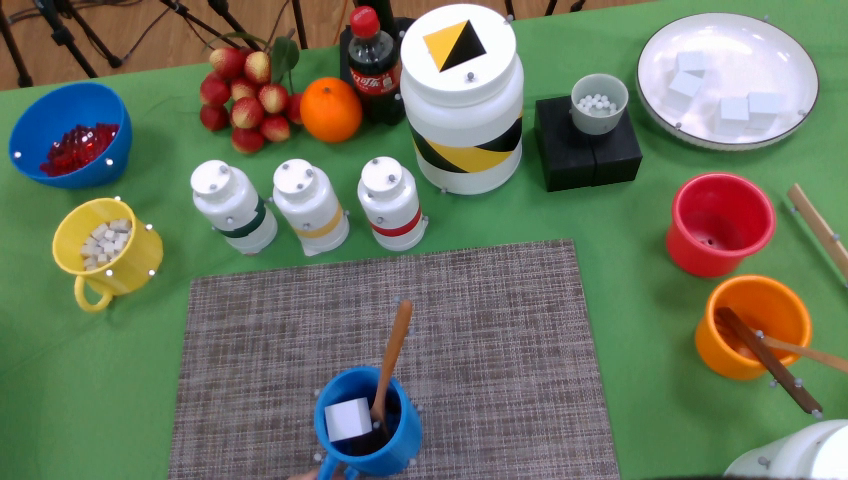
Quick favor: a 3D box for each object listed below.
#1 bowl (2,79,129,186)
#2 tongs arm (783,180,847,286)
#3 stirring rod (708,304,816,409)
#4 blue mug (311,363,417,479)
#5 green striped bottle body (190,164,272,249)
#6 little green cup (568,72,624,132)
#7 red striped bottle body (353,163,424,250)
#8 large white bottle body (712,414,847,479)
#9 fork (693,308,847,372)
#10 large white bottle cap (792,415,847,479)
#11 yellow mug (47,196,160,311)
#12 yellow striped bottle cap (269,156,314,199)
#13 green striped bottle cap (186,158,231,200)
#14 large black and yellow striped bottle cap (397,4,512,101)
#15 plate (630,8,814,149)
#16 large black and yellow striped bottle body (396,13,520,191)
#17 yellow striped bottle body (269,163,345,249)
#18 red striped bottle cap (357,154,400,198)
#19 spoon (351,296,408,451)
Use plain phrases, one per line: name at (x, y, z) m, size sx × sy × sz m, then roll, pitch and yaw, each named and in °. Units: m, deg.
bowl at (-0.443, -0.124, 0.782) m, size 0.151 × 0.077 × 0.150 m, roll -2°, pitch 64°, yaw 5°
tongs arm at (0.477, 0.094, 0.587) m, size 0.051 × 0.027 × 0.381 m, roll -17°, pitch 65°, yaw -3°
stirring rod at (0.300, 0.099, 0.549) m, size 0.014 × 0.006 × 0.175 m, roll -3°, pitch 21°, yaw 2°
blue mug at (-0.062, 0.182, 0.565) m, size 0.082 × 0.107 × 0.116 m, roll 30°, pitch 71°, yaw 20°
green striped bottle body at (-0.221, -0.041, 0.691) m, size 0.063 × 0.120 × 0.062 m, roll -2°, pitch 63°, yaw 5°
little green cup at (0.192, -0.154, 0.685) m, size 0.061 × 0.039 × 0.061 m, roll -2°, pitch 61°, yaw 4°
red striped bottle body at (-0.040, -0.042, 0.669) m, size 0.063 × 0.121 × 0.062 m, roll -4°, pitch 62°, yaw 8°
large white bottle body at (0.312, 0.208, 0.465) m, size 0.130 × 0.186 × 0.129 m, roll -3°, pitch 63°, yaw 6°
fork at (0.329, 0.097, 0.539) m, size 0.028 × 0.019 × 0.206 m, roll -42°, pitch 22°, yaw -13°
large white bottle cap at (0.302, 0.169, 0.391) m, size 0.115 × 0.018 × 0.114 m, roll -3°, pitch 63°, yaw 6°
yellow mug at (-0.379, 0.020, 0.709) m, size 0.100 × 0.064 × 0.130 m, roll 3°, pitch 65°, yaw 8°
yellow striped bottle cap at (-0.139, -0.066, 0.634) m, size 0.044 × 0.019 × 0.044 m, roll -2°, pitch 64°, yaw 5°
green striped bottle cap at (-0.229, -0.065, 0.644) m, size 0.044 × 0.020 × 0.044 m, roll -2°, pitch 64°, yaw 4°
large black and yellow striped bottle cap at (0.030, -0.189, 0.603) m, size 0.115 × 0.019 × 0.114 m, roll -3°, pitch 62°, yaw 6°
plate at (0.357, -0.195, 0.743) m, size 0.209 × 0.038 × 0.207 m, roll -3°, pitch 64°, yaw 6°
large black and yellow striped bottle body at (0.041, -0.153, 0.678) m, size 0.130 × 0.185 × 0.129 m, roll -3°, pitch 63°, yaw 6°
yellow striped bottle body at (-0.133, -0.043, 0.680) m, size 0.063 × 0.121 × 0.062 m, roll -3°, pitch 63°, yaw 6°
red striped bottle cap at (-0.047, -0.067, 0.623) m, size 0.044 × 0.018 × 0.044 m, roll -1°, pitch 62°, yaw 3°
spoon at (-0.037, 0.129, 0.540) m, size 0.041 × 0.195 × 0.021 m, roll 31°, pitch 38°, yaw 25°
